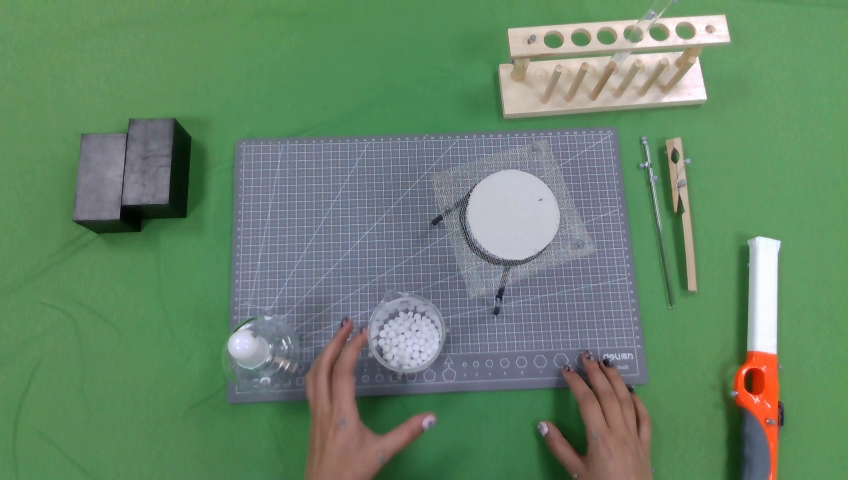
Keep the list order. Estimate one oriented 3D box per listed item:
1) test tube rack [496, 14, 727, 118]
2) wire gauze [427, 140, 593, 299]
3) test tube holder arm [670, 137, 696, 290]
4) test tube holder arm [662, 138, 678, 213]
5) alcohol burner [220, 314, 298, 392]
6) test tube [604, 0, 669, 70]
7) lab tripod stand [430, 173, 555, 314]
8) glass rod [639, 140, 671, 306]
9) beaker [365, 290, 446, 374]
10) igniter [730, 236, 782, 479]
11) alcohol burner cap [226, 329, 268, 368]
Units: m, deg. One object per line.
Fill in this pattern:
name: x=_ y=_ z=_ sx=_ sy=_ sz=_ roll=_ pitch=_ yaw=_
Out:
test tube rack: x=0.211 y=-0.198 z=0.697 sx=0.242 sy=0.085 sz=0.066 roll=-5 pitch=76 yaw=-2
wire gauze: x=0.077 y=-0.023 z=0.556 sx=0.121 sy=0.011 sz=0.124 roll=-18 pitch=77 yaw=-4
test tube holder arm: x=0.295 y=-0.032 z=0.692 sx=0.013 sy=0.015 sz=0.177 roll=-11 pitch=75 yaw=31
test tube holder arm: x=0.288 y=-0.075 z=0.704 sx=0.010 sy=0.015 sz=0.087 roll=-11 pitch=75 yaw=31
alcohol burner: x=-0.167 y=0.110 z=0.599 sx=0.078 sy=0.119 sz=0.077 roll=0 pitch=74 yaw=0
test tube: x=0.229 y=-0.226 z=0.654 sx=0.017 sy=0.150 sz=0.017 roll=2 pitch=75 yaw=-6
lab tripod stand: x=0.072 y=-0.005 z=0.621 sx=0.148 sy=0.132 sz=0.147 roll=0 pitch=77 yaw=1
glass rod: x=0.264 y=-0.023 z=0.696 sx=0.008 sy=0.008 sz=0.198 roll=-4 pitch=76 yaw=-2
beaker: x=-0.020 y=0.096 z=0.613 sx=0.074 sy=0.101 sz=0.083 roll=-23 pitch=77 yaw=-7
igniter: x=0.358 y=0.130 z=0.651 sx=0.057 sy=0.025 sz=0.275 roll=11 pitch=76 yaw=-8
alcohol burner cap: x=-0.168 y=0.099 z=0.565 sx=0.034 sy=0.048 sz=0.033 roll=1 pitch=66 yaw=-2
